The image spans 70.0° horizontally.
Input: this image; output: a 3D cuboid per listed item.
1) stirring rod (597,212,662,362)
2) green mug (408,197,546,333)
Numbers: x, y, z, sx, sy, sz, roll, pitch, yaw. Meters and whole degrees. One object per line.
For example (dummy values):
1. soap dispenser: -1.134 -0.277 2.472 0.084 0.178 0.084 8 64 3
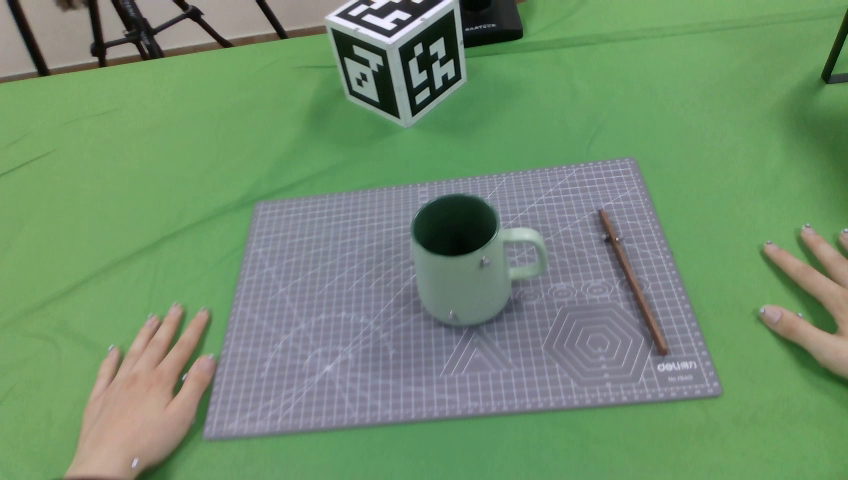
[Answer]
1. stirring rod: 0.193 0.038 0.576 0.006 0.014 0.174 -6 48 -2
2. green mug: 0.048 0.023 0.556 0.125 0.106 0.091 -5 49 6
